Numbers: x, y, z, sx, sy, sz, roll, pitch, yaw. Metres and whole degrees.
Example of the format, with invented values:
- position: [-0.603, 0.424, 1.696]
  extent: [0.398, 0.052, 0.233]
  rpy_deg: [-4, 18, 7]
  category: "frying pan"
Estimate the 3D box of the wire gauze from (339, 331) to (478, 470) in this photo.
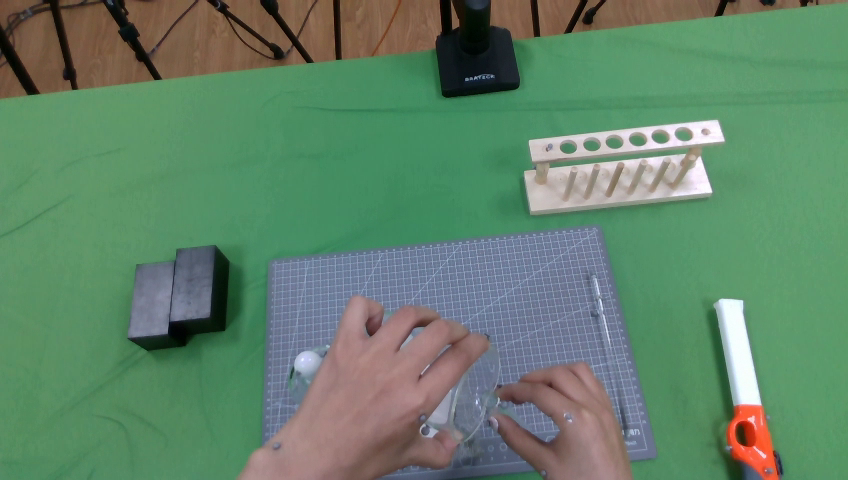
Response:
- position: [-0.018, 0.155, 0.593]
  extent: [0.125, 0.011, 0.120]
  rpy_deg: [-9, 62, -1]
  category: "wire gauze"

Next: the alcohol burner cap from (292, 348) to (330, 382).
- position: [-0.125, 0.134, 0.657]
  extent: [0.034, 0.048, 0.033]
  rpy_deg: [-3, 68, 8]
  category: "alcohol burner cap"

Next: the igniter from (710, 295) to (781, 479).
- position: [0.363, 0.194, 0.687]
  extent: [0.057, 0.025, 0.274]
  rpy_deg: [5, 64, -5]
  category: "igniter"

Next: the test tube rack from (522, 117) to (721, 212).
- position: [0.257, -0.098, 0.803]
  extent: [0.242, 0.086, 0.066]
  rpy_deg: [-6, 63, 1]
  category: "test tube rack"

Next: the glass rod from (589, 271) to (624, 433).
- position: [0.220, 0.131, 0.734]
  extent: [0.008, 0.008, 0.198]
  rpy_deg: [-5, 67, 1]
  category: "glass rod"

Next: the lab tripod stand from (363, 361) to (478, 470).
- position: [-0.013, 0.188, 0.652]
  extent: [0.148, 0.132, 0.147]
  rpy_deg: [-2, 63, 5]
  category: "lab tripod stand"

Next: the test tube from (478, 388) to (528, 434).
- position: [0.074, 0.156, 0.547]
  extent: [0.017, 0.152, 0.017]
  rpy_deg: [-9, 62, 17]
  category: "test tube"

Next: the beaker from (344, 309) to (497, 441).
- position: [-0.003, 0.100, 0.470]
  extent: [0.099, 0.085, 0.074]
  rpy_deg: [18, 79, 28]
  category: "beaker"

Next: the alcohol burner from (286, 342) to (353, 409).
- position: [-0.122, 0.149, 0.689]
  extent: [0.078, 0.120, 0.077]
  rpy_deg: [-2, 62, 4]
  category: "alcohol burner"
